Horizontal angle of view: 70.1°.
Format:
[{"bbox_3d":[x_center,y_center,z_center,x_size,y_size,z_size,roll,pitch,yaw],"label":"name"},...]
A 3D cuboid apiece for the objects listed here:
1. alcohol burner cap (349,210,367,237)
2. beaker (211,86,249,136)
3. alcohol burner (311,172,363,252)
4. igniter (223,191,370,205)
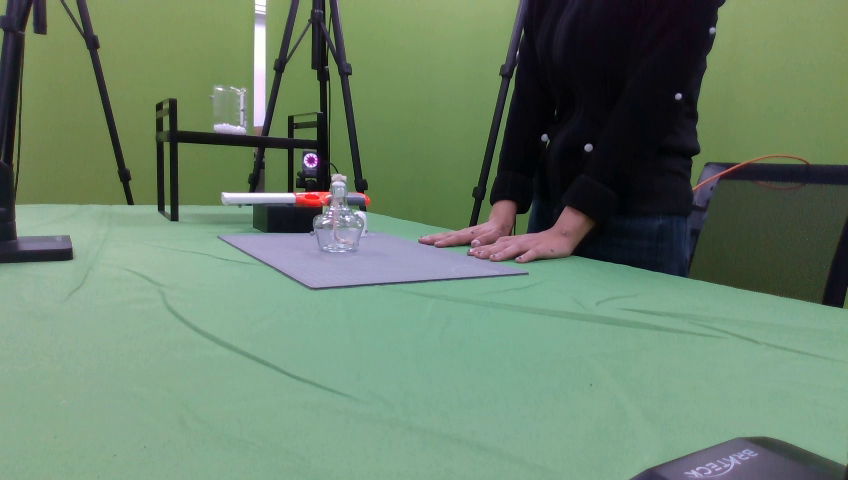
[{"bbox_3d":[-0.118,-0.030,1.095,0.034,0.048,0.034,2,8,0],"label":"alcohol burner cap"},{"bbox_3d":[-0.413,-0.274,1.297,0.074,0.100,0.083,-5,11,-44],"label":"beaker"},{"bbox_3d":[-0.130,-0.042,0.906,0.078,0.119,0.078,2,6,0],"label":"alcohol burner"},{"bbox_3d":[-0.239,-0.080,1.159,0.278,0.025,0.057,-2,20,-26],"label":"igniter"}]
